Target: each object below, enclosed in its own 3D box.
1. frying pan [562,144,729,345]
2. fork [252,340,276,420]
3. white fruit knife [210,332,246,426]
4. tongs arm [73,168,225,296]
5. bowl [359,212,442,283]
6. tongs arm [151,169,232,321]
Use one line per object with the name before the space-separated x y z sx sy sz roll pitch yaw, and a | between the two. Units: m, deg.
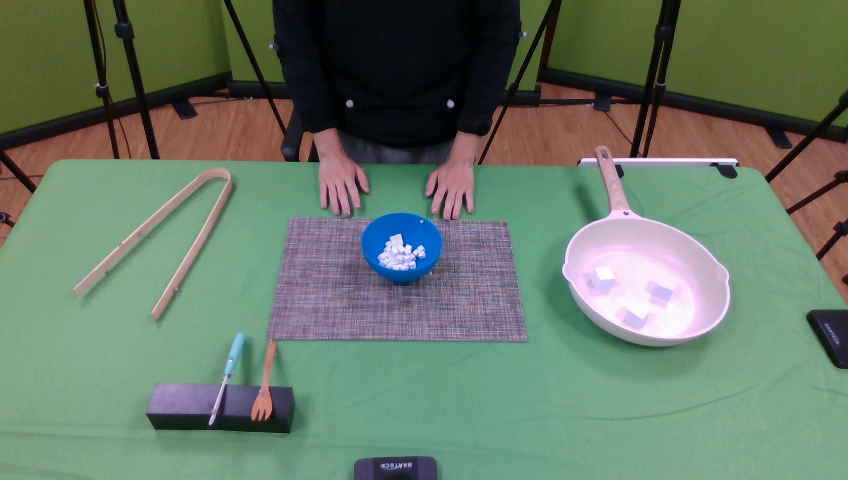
frying pan | 0.396 -0.008 1.179 0.307 0.103 0.484 1 55 -4
fork | -0.242 0.211 0.932 0.028 0.019 0.206 -8 27 -5
white fruit knife | -0.301 0.206 0.930 0.016 0.027 0.206 5 29 -7
tongs arm | -0.515 -0.026 1.172 0.050 0.026 0.383 18 46 11
bowl | -0.044 0.026 1.125 0.151 0.077 0.150 2 46 -2
tongs arm | -0.437 -0.004 1.163 0.028 0.028 0.385 6 46 5
